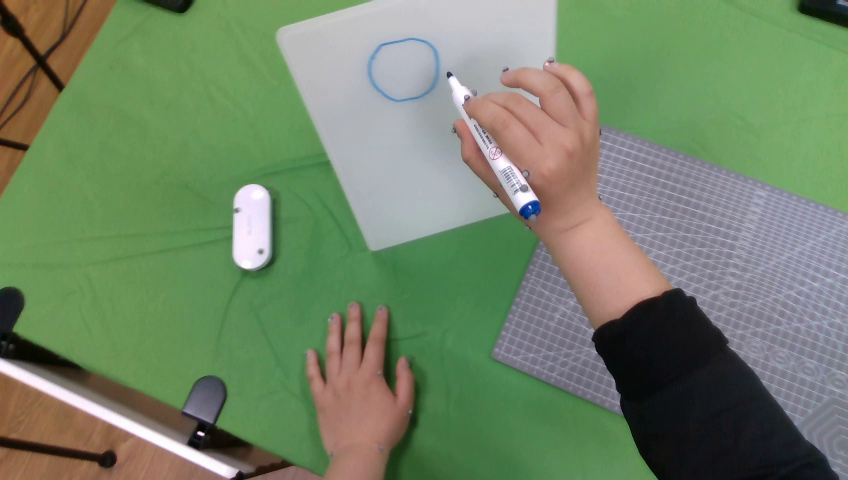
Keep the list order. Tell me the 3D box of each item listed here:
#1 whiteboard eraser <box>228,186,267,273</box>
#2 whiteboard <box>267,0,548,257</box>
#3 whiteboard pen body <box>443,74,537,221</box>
[{"bbox_3d":[-0.203,-0.013,0.697,0.041,0.019,0.100,-4,76,1],"label":"whiteboard eraser"},{"bbox_3d":[-0.003,-0.150,0.605,0.217,0.308,0.142,-16,55,0],"label":"whiteboard"},{"bbox_3d":[0.042,-0.071,0.429,0.017,0.017,0.139,-25,62,-2],"label":"whiteboard pen body"}]
